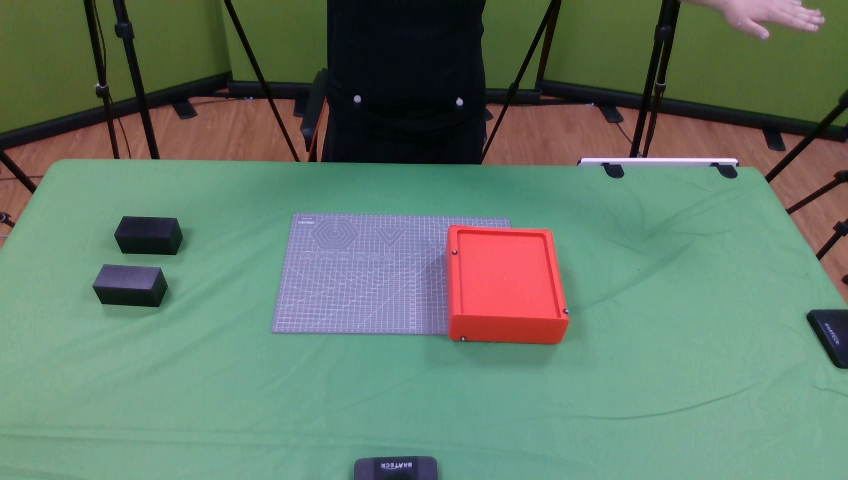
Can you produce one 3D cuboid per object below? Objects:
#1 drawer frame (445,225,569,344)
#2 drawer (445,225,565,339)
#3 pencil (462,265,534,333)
[{"bbox_3d":[0.141,0.076,1.089,0.202,0.083,0.212,3,47,-4],"label":"drawer frame"},{"bbox_3d":[0.139,0.073,1.094,0.194,0.073,0.210,3,47,-3],"label":"drawer"},{"bbox_3d":[0.130,0.104,1.098,0.012,0.012,0.193,-26,51,-27],"label":"pencil"}]
